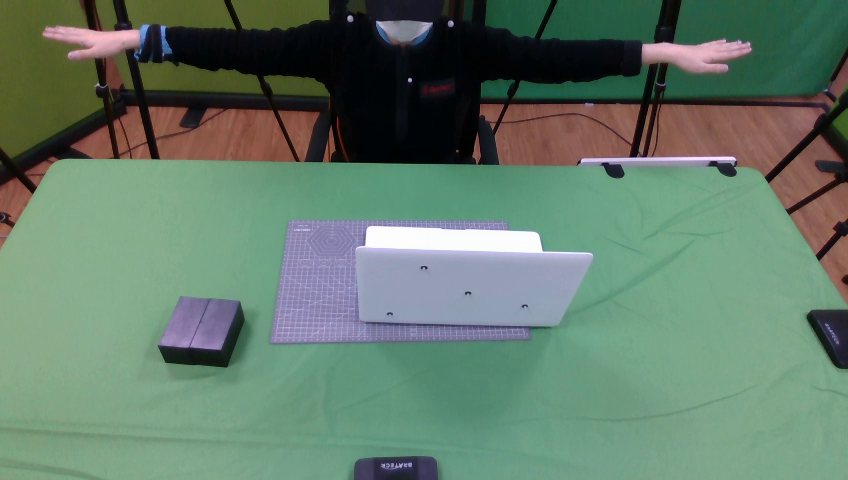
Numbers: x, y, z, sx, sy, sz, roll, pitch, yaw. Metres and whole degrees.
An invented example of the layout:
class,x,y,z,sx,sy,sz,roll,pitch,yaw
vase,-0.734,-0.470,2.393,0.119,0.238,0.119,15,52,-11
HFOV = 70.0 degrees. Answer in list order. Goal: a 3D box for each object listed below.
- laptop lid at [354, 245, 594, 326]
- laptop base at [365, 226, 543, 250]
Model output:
class,x,y,z,sx,sy,sz,roll,pitch,yaw
laptop lid,0.069,0.080,0.964,0.357,0.243,0.013,2,55,-4
laptop base,0.061,0.063,1.144,0.354,0.023,0.234,2,43,-3
